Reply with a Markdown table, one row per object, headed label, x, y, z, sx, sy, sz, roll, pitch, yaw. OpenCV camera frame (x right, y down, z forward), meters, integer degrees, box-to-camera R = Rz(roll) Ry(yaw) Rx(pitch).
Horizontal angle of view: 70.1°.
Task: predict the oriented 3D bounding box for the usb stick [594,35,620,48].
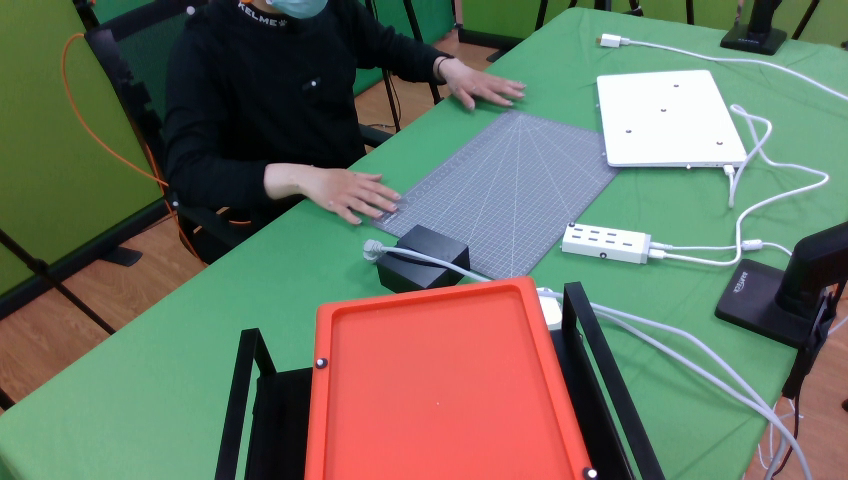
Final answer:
| label | x | y | z | sx | sy | sz | roll | pitch | yaw |
| --- | --- | --- | --- | --- | --- | --- | --- | --- | --- |
| usb stick | 0.443 | -0.482 | 1.466 | 0.059 | 0.021 | 0.027 | 9 | 42 | 10 |

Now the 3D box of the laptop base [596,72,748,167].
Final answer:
| label | x | y | z | sx | sy | sz | roll | pitch | yaw |
| --- | --- | --- | --- | --- | --- | --- | --- | --- | --- |
| laptop base | 0.469 | -0.239 | 1.188 | 0.235 | 0.023 | 0.353 | -1 | 40 | 12 |

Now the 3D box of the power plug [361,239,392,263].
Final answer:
| label | x | y | z | sx | sy | sz | roll | pitch | yaw |
| --- | --- | --- | --- | --- | --- | --- | --- | --- | --- |
| power plug | -0.070 | 0.024 | 0.930 | 0.072 | 0.053 | 0.035 | 32 | 82 | 42 |

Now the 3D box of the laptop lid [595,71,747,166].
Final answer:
| label | x | y | z | sx | sy | sz | roll | pitch | yaw |
| --- | --- | --- | --- | --- | --- | --- | --- | --- | --- |
| laptop lid | 0.465 | -0.248 | 1.181 | 0.241 | 0.013 | 0.355 | 1 | 41 | 12 |

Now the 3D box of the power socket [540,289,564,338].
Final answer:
| label | x | y | z | sx | sy | sz | roll | pitch | yaw |
| --- | --- | --- | --- | --- | --- | --- | --- | --- | --- |
| power socket | 0.080 | 0.112 | 0.822 | 0.227 | 0.033 | 0.072 | -7 | 41 | -1 |

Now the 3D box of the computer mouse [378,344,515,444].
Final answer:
| label | x | y | z | sx | sy | sz | roll | pitch | yaw |
| --- | --- | --- | --- | --- | --- | --- | --- | --- | --- |
| computer mouse | 0.018 | 0.126 | 0.520 | 0.116 | 0.041 | 0.063 | 13 | 47 | 29 |

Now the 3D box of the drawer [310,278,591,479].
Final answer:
| label | x | y | z | sx | sy | sz | roll | pitch | yaw |
| --- | --- | --- | --- | --- | --- | --- | --- | --- | --- |
| drawer | 0.013 | 0.137 | 0.489 | 0.195 | 0.073 | 0.210 | -7 | 41 | 0 |

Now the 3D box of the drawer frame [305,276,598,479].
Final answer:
| label | x | y | z | sx | sy | sz | roll | pitch | yaw |
| --- | --- | --- | --- | --- | --- | --- | --- | --- | --- |
| drawer frame | 0.014 | 0.137 | 0.486 | 0.202 | 0.083 | 0.212 | -8 | 41 | -1 |

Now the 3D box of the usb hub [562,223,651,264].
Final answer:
| label | x | y | z | sx | sy | sz | roll | pitch | yaw |
| --- | --- | --- | --- | --- | --- | --- | --- | --- | --- |
| usb hub | 0.279 | 0.004 | 0.926 | 0.124 | 0.025 | 0.049 | 10 | 43 | 19 |
